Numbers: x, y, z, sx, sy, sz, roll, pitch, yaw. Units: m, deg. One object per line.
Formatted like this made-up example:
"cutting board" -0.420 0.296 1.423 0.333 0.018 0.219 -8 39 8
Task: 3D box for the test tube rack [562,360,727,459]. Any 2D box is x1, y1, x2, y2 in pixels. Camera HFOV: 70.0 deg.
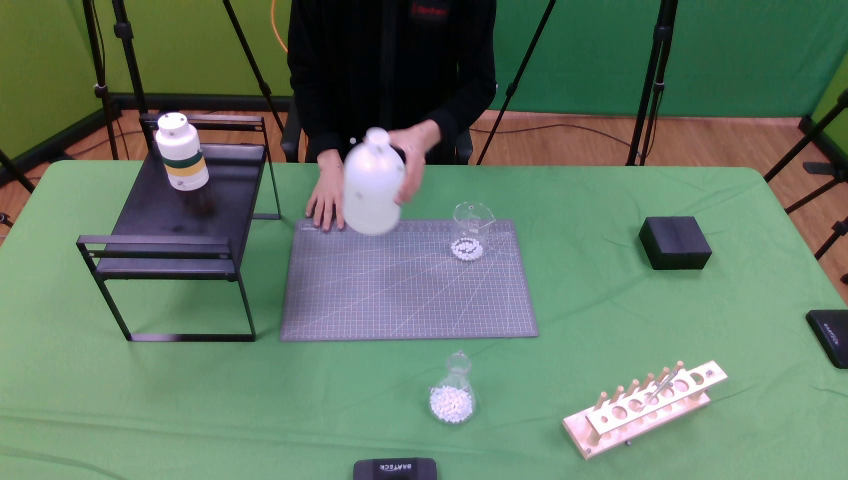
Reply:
"test tube rack" 0.341 0.247 0.940 0.243 0.085 0.066 -16 49 -18

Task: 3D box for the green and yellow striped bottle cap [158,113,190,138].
"green and yellow striped bottle cap" -0.393 -0.180 0.951 0.045 0.020 0.045 2 44 -2

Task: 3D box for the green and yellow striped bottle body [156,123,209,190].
"green and yellow striped bottle body" -0.395 -0.145 0.989 0.063 0.120 0.063 2 46 -2

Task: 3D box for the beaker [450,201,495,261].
"beaker" 0.089 -0.014 1.160 0.084 0.101 0.073 9 47 4

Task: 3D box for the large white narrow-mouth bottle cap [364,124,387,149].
"large white narrow-mouth bottle cap" -0.076 -0.162 0.946 0.038 0.024 0.037 7 49 -7

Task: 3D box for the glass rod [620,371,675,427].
"glass rod" 0.316 0.230 0.863 0.008 0.200 0.008 3 54 -3

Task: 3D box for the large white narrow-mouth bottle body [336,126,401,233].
"large white narrow-mouth bottle body" -0.091 -0.107 1.011 0.102 0.195 0.101 6 49 -7

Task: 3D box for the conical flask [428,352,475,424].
"conical flask" 0.046 0.220 0.920 0.075 0.122 0.075 2 46 -2
